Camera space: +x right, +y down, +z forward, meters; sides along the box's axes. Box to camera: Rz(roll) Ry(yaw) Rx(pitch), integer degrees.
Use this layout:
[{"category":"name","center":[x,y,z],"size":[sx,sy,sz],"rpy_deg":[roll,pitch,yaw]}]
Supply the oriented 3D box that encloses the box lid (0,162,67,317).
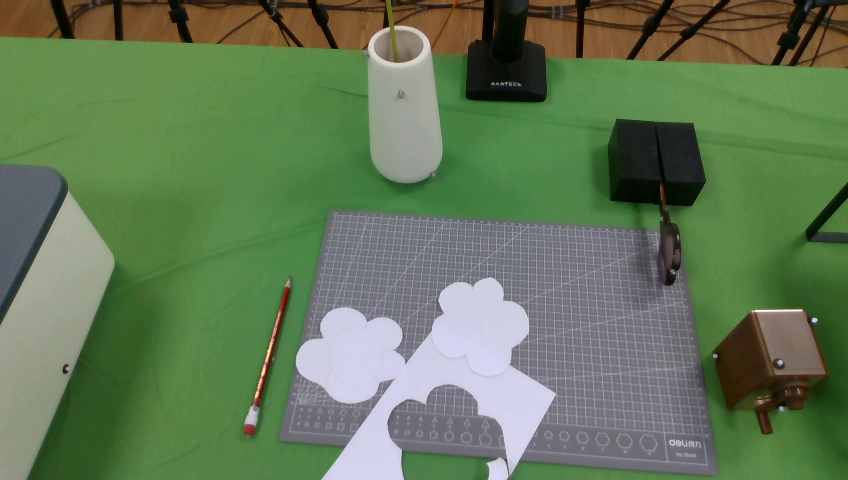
[{"category":"box lid","center":[-0.512,0.068,0.544],"size":[0.263,0.015,0.368],"rpy_deg":[4,57,3]}]

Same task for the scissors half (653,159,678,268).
[{"category":"scissors half","center":[0.288,-0.039,0.729],"size":[0.013,0.040,0.173],"rpy_deg":[4,48,6]}]

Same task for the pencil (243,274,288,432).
[{"category":"pencil","center":[-0.176,0.121,0.688],"size":[0.012,0.012,0.192],"rpy_deg":[4,56,4]}]

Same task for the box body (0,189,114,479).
[{"category":"box body","center":[-0.510,0.110,0.607],"size":[0.254,0.162,0.361],"rpy_deg":[3,58,3]}]

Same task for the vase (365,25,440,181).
[{"category":"vase","center":[-0.029,-0.164,0.755],"size":[0.098,0.202,0.097],"rpy_deg":[-1,56,2]}]

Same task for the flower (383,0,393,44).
[{"category":"flower","center":[-0.037,-0.221,0.692],"size":[0.044,0.365,0.038],"rpy_deg":[-3,40,3]}]

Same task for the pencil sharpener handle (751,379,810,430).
[{"category":"pencil sharpener handle","center":[0.344,0.160,0.583],"size":[0.036,0.068,0.030],"rpy_deg":[7,57,-11]}]

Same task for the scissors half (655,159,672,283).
[{"category":"scissors half","center":[0.291,-0.027,0.746],"size":[0.013,0.040,0.174],"rpy_deg":[1,65,11]}]

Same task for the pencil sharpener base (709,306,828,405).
[{"category":"pencil sharpener base","center":[0.348,0.123,0.621],"size":[0.061,0.108,0.076],"rpy_deg":[0,58,1]}]
